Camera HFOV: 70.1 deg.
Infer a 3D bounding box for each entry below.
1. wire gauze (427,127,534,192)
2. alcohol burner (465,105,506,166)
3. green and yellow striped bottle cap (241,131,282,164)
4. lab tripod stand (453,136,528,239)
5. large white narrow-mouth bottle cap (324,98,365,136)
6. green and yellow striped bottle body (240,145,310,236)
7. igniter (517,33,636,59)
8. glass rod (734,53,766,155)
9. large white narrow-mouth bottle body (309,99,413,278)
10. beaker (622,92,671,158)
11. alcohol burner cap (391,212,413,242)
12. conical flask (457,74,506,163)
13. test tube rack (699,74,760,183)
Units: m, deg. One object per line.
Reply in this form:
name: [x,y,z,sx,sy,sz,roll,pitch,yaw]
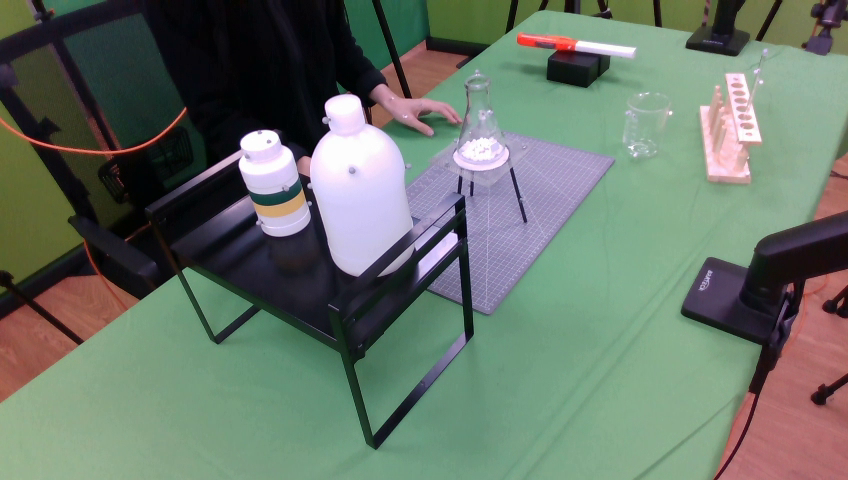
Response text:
wire gauze: [0.086,-0.130,0.925,0.124,0.011,0.122,28,54,31]
alcohol burner: [0.113,-0.199,1.119,0.078,0.119,0.077,-4,43,4]
green and yellow striped bottle cap: [-0.187,-0.107,0.695,0.045,0.020,0.045,-3,39,3]
lab tripod stand: [0.095,-0.086,0.974,0.148,0.132,0.147,-4,43,4]
large white narrow-mouth bottle cap: [-0.076,-0.120,0.585,0.038,0.024,0.037,-3,42,3]
green and yellow striped bottle body: [-0.181,-0.068,0.729,0.063,0.120,0.063,-4,40,4]
igniter: [0.336,-0.441,1.369,0.275,0.025,0.057,16,41,23]
glass rod: [0.540,-0.220,1.007,0.008,0.201,0.008,-5,46,6]
large white narrow-mouth bottle body: [-0.068,-0.057,0.644,0.102,0.195,0.101,-3,42,4]
beaker: [0.402,-0.210,1.106,0.074,0.101,0.083,-9,40,-2]
alcohol burner cap: [-0.038,-0.023,0.990,0.034,0.048,0.033,-5,40,5]
conical flask: [0.082,-0.181,0.893,0.075,0.122,0.075,-4,41,4]
test tube rack: [0.547,-0.208,1.095,0.066,0.085,0.242,6,42,16]
